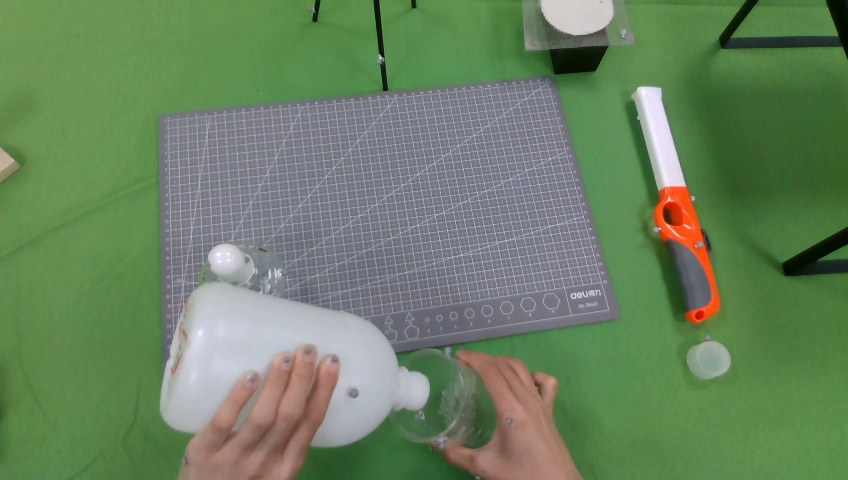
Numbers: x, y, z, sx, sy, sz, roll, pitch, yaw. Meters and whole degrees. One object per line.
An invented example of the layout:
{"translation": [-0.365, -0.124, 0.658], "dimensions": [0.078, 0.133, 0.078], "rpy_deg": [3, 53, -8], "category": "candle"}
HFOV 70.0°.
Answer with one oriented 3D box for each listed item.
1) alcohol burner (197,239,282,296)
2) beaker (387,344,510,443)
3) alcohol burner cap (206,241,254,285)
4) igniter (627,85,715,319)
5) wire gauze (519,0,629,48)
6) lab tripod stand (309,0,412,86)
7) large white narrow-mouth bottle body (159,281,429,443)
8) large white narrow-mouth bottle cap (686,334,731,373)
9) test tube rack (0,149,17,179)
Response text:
{"translation": [-0.170, 0.030, 0.551], "dimensions": [0.078, 0.120, 0.077], "rpy_deg": [2, 68, -5], "category": "alcohol burner"}
{"translation": [0.023, 0.139, 0.529], "dimensions": [0.084, 0.101, 0.073], "rpy_deg": [-18, 62, 28], "category": "beaker"}
{"translation": [-0.168, 0.019, 0.517], "dimensions": [0.034, 0.048, 0.033], "rpy_deg": [0, 75, -1], "category": "alcohol burner cap"}
{"translation": [0.268, -0.049, 0.661], "dimensions": [0.057, 0.025, 0.274], "rpy_deg": [-1, 69, -15], "category": "igniter"}
{"translation": [0.167, -0.272, 0.694], "dimensions": [0.121, 0.011, 0.124], "rpy_deg": [0, 69, -4], "category": "wire gauze"}
{"translation": [-0.061, -0.266, 0.660], "dimensions": [0.148, 0.132, 0.147], "rpy_deg": [2, 70, -5], "category": "lab tripod stand"}
{"translation": [-0.086, 0.099, 0.457], "dimensions": [0.196, 0.101, 0.101], "rpy_deg": [17, 67, -26], "category": "large white narrow-mouth bottle body"}
{"translation": [0.284, 0.113, 0.607], "dimensions": [0.038, 0.024, 0.037], "rpy_deg": [1, 69, -3], "category": "large white narrow-mouth bottle cap"}
{"translation": [-0.525, -0.029, 0.564], "dimensions": [0.066, 0.085, 0.242], "rpy_deg": [39, 72, 10], "category": "test tube rack"}
